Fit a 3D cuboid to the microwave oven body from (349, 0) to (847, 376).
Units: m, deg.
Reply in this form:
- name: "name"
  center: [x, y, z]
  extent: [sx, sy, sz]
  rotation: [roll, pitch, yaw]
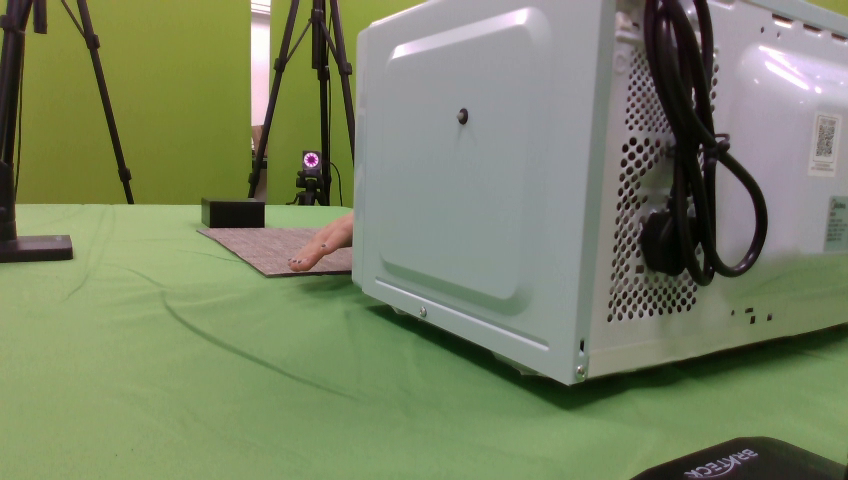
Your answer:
- name: "microwave oven body"
  center: [0.199, -0.053, 0.540]
  extent: [0.444, 0.260, 0.324]
  rotation: [-1, 7, -32]

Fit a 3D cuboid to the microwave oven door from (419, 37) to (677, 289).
- name: "microwave oven door"
  center: [0.159, -0.079, 0.684]
  extent: [0.358, 0.243, 0.039]
  rotation: [-2, 9, -32]

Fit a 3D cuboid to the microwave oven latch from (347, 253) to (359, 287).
- name: "microwave oven latch"
  center: [-0.034, 0.028, 0.581]
  extent: [0.079, 0.029, 0.030]
  rotation: [-1, 7, -31]

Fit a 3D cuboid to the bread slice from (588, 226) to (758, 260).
- name: "bread slice"
  center: [0.225, 0.002, 0.569]
  extent: [0.132, 0.019, 0.104]
  rotation: [5, 4, -23]

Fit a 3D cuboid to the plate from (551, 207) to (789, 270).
- name: "plate"
  center: [0.224, -0.003, 0.572]
  extent: [0.209, 0.038, 0.209]
  rotation: [3, 8, 0]
